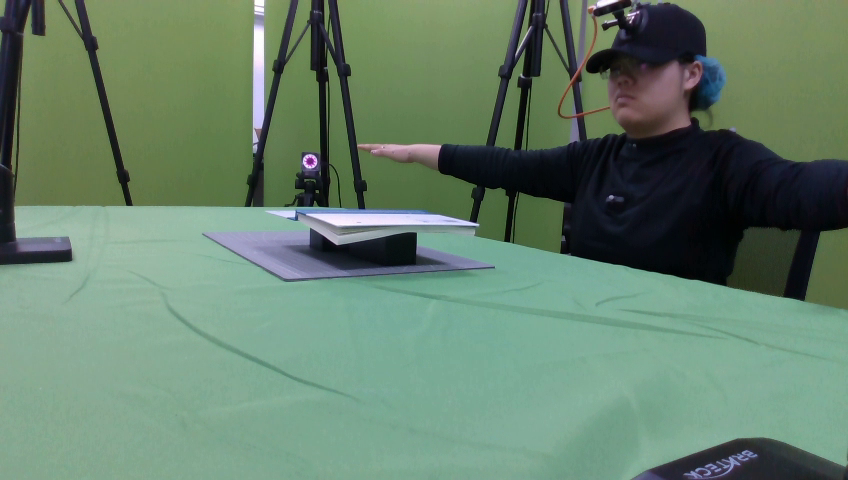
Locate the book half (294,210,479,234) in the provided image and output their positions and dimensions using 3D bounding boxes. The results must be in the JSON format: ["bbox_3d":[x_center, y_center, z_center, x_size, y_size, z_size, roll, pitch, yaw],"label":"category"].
[{"bbox_3d":[-0.051,-0.025,0.823,0.211,0.016,0.148,-1,9,-32],"label":"book half"}]

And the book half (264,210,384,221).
[{"bbox_3d":[-0.125,-0.038,0.944,0.211,0.007,0.142,-2,9,-32],"label":"book half"}]
